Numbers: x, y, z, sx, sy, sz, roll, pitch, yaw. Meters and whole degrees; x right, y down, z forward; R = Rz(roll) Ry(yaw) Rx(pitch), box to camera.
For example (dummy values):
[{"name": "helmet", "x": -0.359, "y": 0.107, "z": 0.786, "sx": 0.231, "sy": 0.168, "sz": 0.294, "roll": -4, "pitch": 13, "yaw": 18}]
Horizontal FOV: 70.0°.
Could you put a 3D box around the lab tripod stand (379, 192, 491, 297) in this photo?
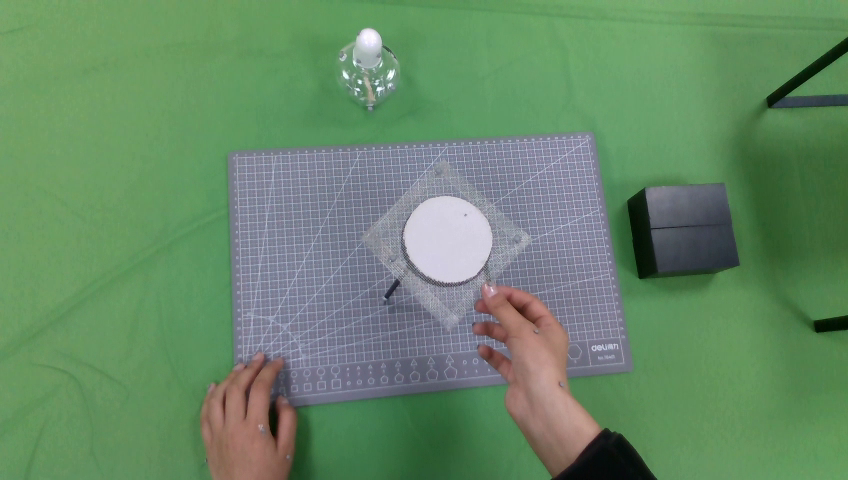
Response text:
[{"name": "lab tripod stand", "x": 0.018, "y": 0.011, "z": 0.646, "sx": 0.149, "sy": 0.132, "sz": 0.147, "roll": 2, "pitch": 76, "yaw": -7}]

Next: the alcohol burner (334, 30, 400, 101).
[{"name": "alcohol burner", "x": -0.065, "y": -0.211, "z": 0.699, "sx": 0.078, "sy": 0.119, "sz": 0.077, "roll": 2, "pitch": 77, "yaw": -7}]

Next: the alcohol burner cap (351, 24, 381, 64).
[{"name": "alcohol burner cap", "x": -0.062, "y": -0.217, "z": 0.665, "sx": 0.034, "sy": 0.048, "sz": 0.034, "roll": 1, "pitch": 82, "yaw": -9}]

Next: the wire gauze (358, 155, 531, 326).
[{"name": "wire gauze", "x": 0.020, "y": -0.003, "z": 0.581, "sx": 0.125, "sy": 0.011, "sz": 0.121, "roll": 45, "pitch": 77, "yaw": 4}]
